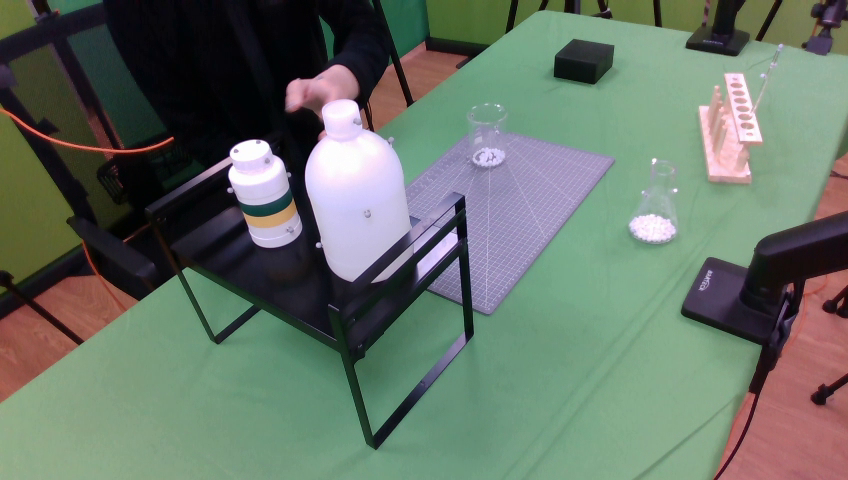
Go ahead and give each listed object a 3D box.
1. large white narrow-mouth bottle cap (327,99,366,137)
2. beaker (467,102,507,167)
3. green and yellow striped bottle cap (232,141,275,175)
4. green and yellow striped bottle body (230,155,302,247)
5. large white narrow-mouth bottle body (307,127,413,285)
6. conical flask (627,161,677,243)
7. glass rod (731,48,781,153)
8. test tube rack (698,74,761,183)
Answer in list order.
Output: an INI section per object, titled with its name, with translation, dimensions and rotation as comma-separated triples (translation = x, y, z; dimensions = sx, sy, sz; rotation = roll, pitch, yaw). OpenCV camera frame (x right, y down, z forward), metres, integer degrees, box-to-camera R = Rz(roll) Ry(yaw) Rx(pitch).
[large white narrow-mouth bottle cap]
translation = -0.075, -0.118, 0.582
dimensions = 0.038, 0.024, 0.037
rotation = -3, 40, 3
[beaker]
translation = 0.121, -0.195, 1.124
dimensions = 0.084, 0.100, 0.073
rotation = -34, 48, -28
[green and yellow striped bottle cap]
translation = -0.192, -0.093, 0.680
dimensions = 0.045, 0.020, 0.045
rotation = -5, 39, 4
[green and yellow striped bottle body]
translation = -0.188, -0.055, 0.714
dimensions = 0.063, 0.120, 0.063
rotation = -4, 40, 4
[large white narrow-mouth bottle body]
translation = -0.069, -0.051, 0.638
dimensions = 0.102, 0.195, 0.101
rotation = -3, 40, 3
[conical flask]
translation = 0.355, -0.061, 0.921
dimensions = 0.075, 0.122, 0.075
rotation = -4, 41, 4
[glass rod]
translation = 0.554, -0.228, 1.014
dimensions = 0.008, 0.200, 0.008
rotation = 1, 44, -1
[test tube rack]
translation = 0.547, -0.208, 1.095
dimensions = 0.066, 0.085, 0.242
rotation = 5, 42, 15
